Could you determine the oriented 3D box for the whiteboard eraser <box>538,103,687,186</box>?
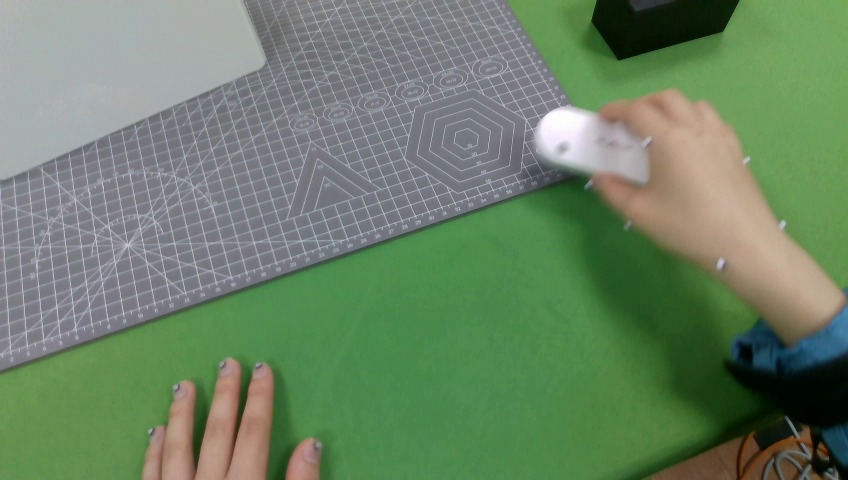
[{"bbox_3d":[0.131,-0.066,0.419,0.101,0.019,0.041,16,76,2],"label":"whiteboard eraser"}]

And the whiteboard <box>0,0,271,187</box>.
[{"bbox_3d":[-0.275,-0.233,0.404,0.217,0.308,0.142,-28,45,-13],"label":"whiteboard"}]
